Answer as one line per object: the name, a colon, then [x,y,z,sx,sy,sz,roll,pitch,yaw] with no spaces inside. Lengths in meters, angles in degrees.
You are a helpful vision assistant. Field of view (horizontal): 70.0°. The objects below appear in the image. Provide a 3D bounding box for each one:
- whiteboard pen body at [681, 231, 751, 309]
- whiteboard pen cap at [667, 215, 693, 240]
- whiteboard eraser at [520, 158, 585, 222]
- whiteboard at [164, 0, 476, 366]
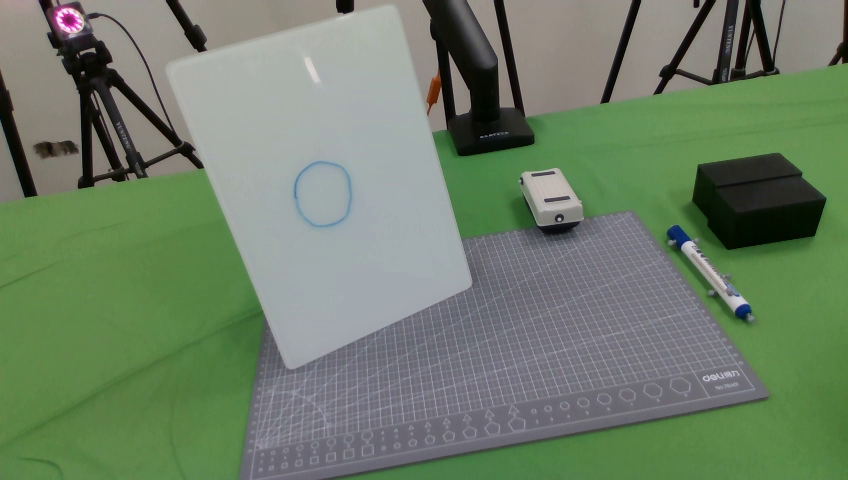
whiteboard pen body: [0.298,0.022,0.636,0.017,0.017,0.139,-11,36,-3]
whiteboard pen cap: [0.289,-0.013,0.681,0.018,0.018,0.033,-11,35,-3]
whiteboard eraser: [0.157,-0.062,0.753,0.055,0.042,0.111,-10,33,1]
whiteboard: [-0.105,-0.068,0.638,0.217,0.307,0.142,-23,20,-18]
